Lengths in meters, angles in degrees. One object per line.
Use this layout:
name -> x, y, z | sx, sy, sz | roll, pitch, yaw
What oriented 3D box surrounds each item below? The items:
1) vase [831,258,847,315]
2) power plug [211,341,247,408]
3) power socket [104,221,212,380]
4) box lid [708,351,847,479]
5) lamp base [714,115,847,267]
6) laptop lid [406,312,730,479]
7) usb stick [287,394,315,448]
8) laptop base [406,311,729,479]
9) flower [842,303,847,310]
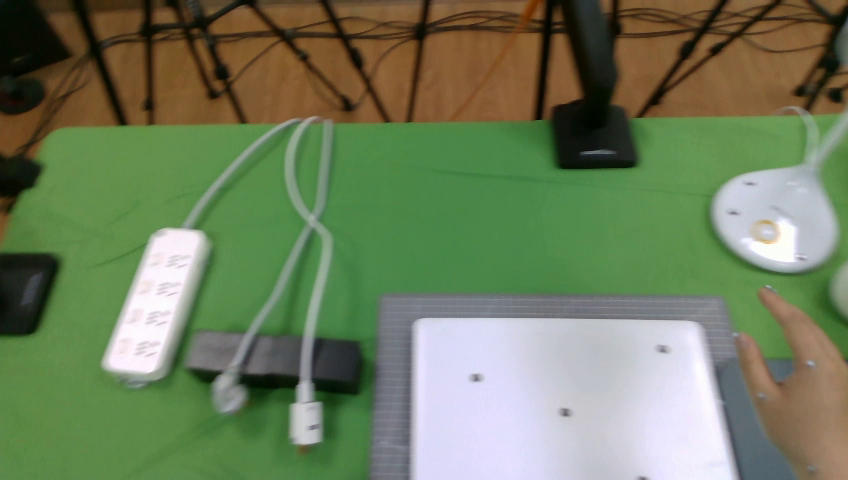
vase -> 0.559, 0.023, 0.695 | 0.098, 0.202, 0.097 | -2, 57, 3
power plug -> -0.215, 0.162, 0.703 | 0.072, 0.053, 0.035 | -46, 48, -14
power socket -> -0.344, 0.070, 0.793 | 0.072, 0.033, 0.225 | 6, 59, 5
box lid -> 0.469, 0.292, 0.645 | 0.263, 0.015, 0.368 | 0, 59, 1
lamp base -> 0.486, -0.083, 0.772 | 0.159, 0.182, 0.178 | 31, 62, 19
laptop lid -> 0.158, 0.192, 0.698 | 0.356, 0.013, 0.239 | 2, 62, 3
usb stick -> -0.139, 0.206, 0.687 | 0.027, 0.021, 0.059 | 0, 84, 34
laptop base -> 0.158, 0.196, 0.709 | 0.354, 0.023, 0.233 | 0, 62, 2
flower -> 0.576, -0.019, 0.624 | 0.038, 0.364, 0.043 | 17, 51, -6
